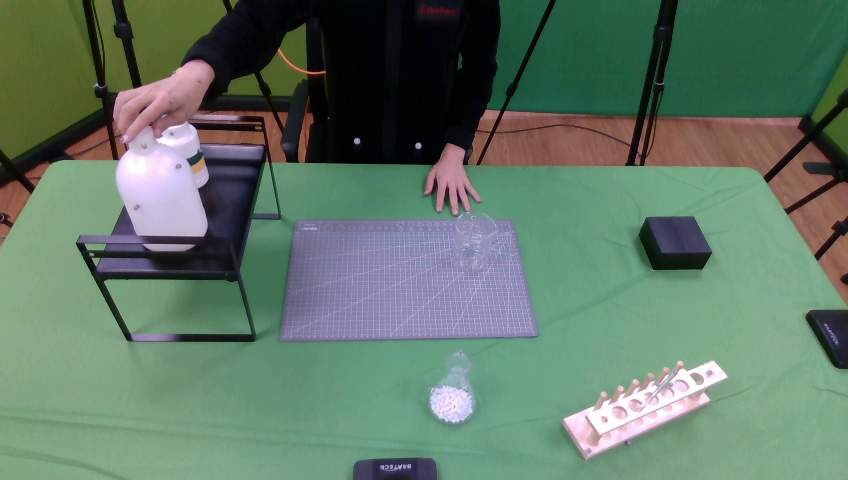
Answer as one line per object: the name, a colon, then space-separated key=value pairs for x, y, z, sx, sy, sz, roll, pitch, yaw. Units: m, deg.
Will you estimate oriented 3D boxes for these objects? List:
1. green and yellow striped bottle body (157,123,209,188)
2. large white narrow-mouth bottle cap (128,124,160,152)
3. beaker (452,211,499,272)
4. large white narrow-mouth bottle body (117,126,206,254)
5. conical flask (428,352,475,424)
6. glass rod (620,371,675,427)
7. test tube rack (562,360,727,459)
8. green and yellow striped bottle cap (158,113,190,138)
green and yellow striped bottle body: x=-0.395 y=-0.145 z=0.989 sx=0.063 sy=0.120 sz=0.063 roll=2 pitch=46 yaw=-2
large white narrow-mouth bottle cap: x=-0.375 y=-0.136 z=0.811 sx=0.038 sy=0.024 sz=0.037 roll=3 pitch=46 yaw=-3
beaker: x=0.093 y=0.006 z=1.141 sx=0.084 sy=0.101 sz=0.073 roll=7 pitch=46 yaw=3
large white narrow-mouth bottle body: x=-0.382 y=-0.076 z=0.874 sx=0.102 sy=0.195 sz=0.101 roll=3 pitch=46 yaw=-3
conical flask: x=0.046 y=0.220 z=0.920 sx=0.075 sy=0.122 sz=0.075 roll=2 pitch=46 yaw=-2
glass rod: x=0.316 y=0.230 z=0.863 sx=0.008 sy=0.200 sz=0.008 roll=3 pitch=54 yaw=-3
test tube rack: x=0.341 y=0.247 z=0.940 sx=0.243 sy=0.085 sz=0.066 roll=-16 pitch=49 yaw=-18
green and yellow striped bottle cap: x=-0.393 y=-0.180 z=0.951 sx=0.045 sy=0.020 sz=0.045 roll=2 pitch=44 yaw=-2
